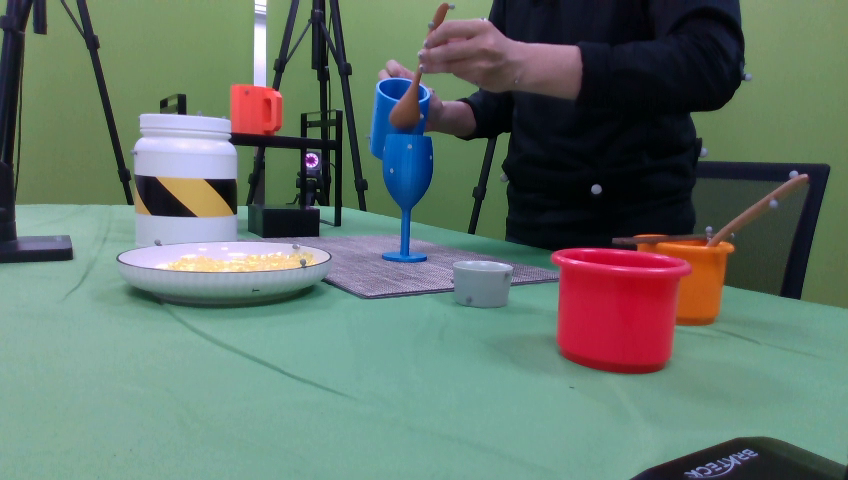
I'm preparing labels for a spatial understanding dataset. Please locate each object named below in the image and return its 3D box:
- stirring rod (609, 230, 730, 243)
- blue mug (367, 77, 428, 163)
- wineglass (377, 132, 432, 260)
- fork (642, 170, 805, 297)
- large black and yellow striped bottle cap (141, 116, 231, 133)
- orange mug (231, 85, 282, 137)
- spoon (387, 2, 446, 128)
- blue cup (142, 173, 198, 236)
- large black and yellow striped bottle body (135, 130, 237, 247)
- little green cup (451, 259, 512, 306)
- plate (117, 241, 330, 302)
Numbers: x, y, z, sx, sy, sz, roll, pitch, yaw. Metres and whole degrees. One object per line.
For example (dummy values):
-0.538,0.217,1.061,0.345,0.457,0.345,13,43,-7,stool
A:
0.241,-0.004,0.582,0.177,0.006,0.014,-4,10,-33,stirring rod
-0.044,-0.195,0.944,0.082,0.106,0.116,1,39,-13,blue mug
-0.026,-0.062,0.841,0.074,0.172,0.073,2,8,0,wineglass
0.261,0.004,0.545,0.028,0.018,0.207,5,-37,-15,fork
-0.324,-0.157,0.826,0.115,0.019,0.115,1,7,0,large black and yellow striped bottle cap
-0.335,-0.261,1.225,0.125,0.100,0.084,2,6,35,orange mug
-0.008,-0.215,0.767,0.042,0.193,0.021,13,44,-10,spoon
-0.425,-0.060,1.014,0.093,0.100,0.092,4,9,0,blue cup
-0.327,-0.074,0.838,0.131,0.184,0.130,2,7,0,large black and yellow striped bottle body
0.057,0.043,0.611,0.061,0.038,0.061,3,7,0,little green cup
-0.203,0.031,0.630,0.209,0.038,0.209,3,7,0,plate
